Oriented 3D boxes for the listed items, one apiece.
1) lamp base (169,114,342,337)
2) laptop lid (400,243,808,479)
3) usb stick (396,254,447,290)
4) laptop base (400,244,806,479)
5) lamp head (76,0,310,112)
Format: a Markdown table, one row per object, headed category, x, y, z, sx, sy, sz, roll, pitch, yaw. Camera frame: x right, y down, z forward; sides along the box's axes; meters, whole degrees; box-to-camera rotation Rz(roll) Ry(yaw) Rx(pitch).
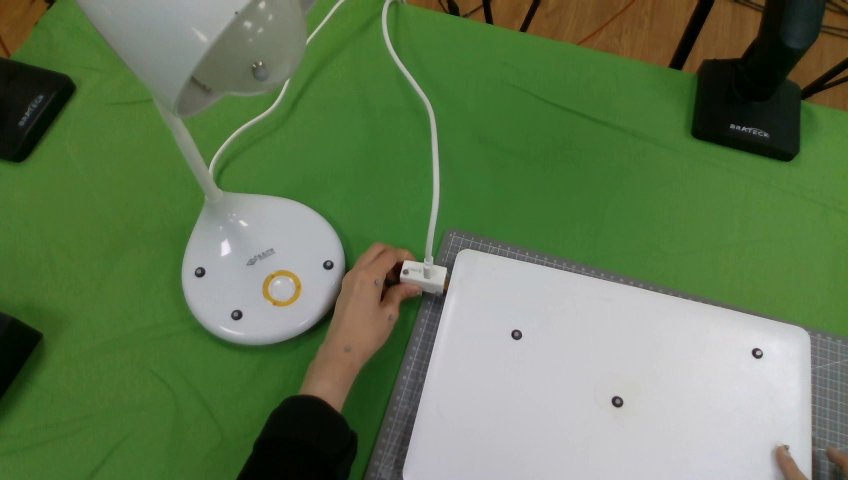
| category | x | y | z | sx | sy | sz | roll | pitch | yaw |
| --- | --- | --- | --- | --- | --- | --- | --- | --- | --- |
| lamp base | -0.171 | -0.020 | 0.546 | 0.178 | 0.181 | 0.160 | 41 | 70 | 19 |
| laptop lid | 0.174 | 0.144 | 0.558 | 0.356 | 0.013 | 0.240 | 15 | 68 | 5 |
| usb stick | 0.003 | 0.033 | 0.603 | 0.059 | 0.027 | 0.021 | 12 | 57 | 1 |
| laptop base | 0.174 | 0.147 | 0.570 | 0.354 | 0.023 | 0.234 | 13 | 69 | 4 |
| lamp head | -0.115 | -0.135 | 0.267 | 0.123 | 0.112 | 0.112 | 42 | 68 | -9 |
